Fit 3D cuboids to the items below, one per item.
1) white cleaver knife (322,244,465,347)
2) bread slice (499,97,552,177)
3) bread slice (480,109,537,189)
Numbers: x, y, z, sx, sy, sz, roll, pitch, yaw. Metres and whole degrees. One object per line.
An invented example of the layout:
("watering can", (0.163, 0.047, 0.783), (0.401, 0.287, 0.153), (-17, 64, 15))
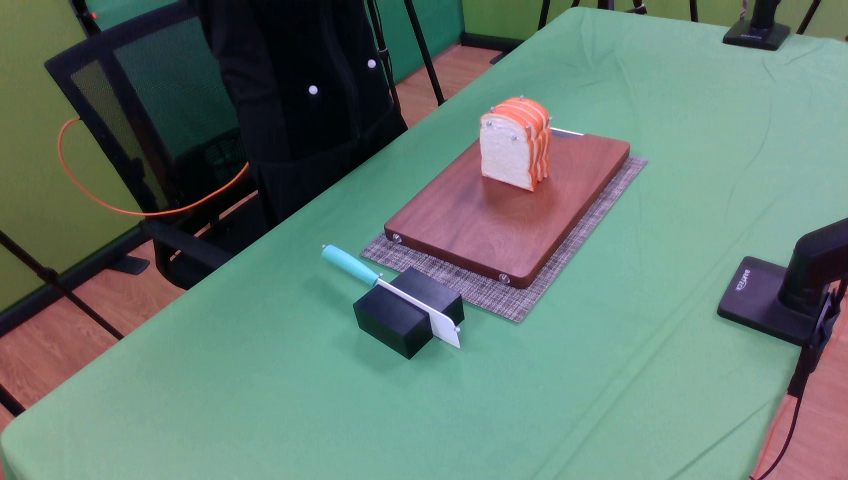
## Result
("white cleaver knife", (-0.054, 0.078, 0.870), (0.284, 0.066, 0.021), (28, 57, 37))
("bread slice", (0.173, -0.179, 1.034), (0.104, 0.132, 0.019), (24, 46, 31))
("bread slice", (0.138, -0.154, 1.008), (0.106, 0.135, 0.018), (19, 49, 35))
